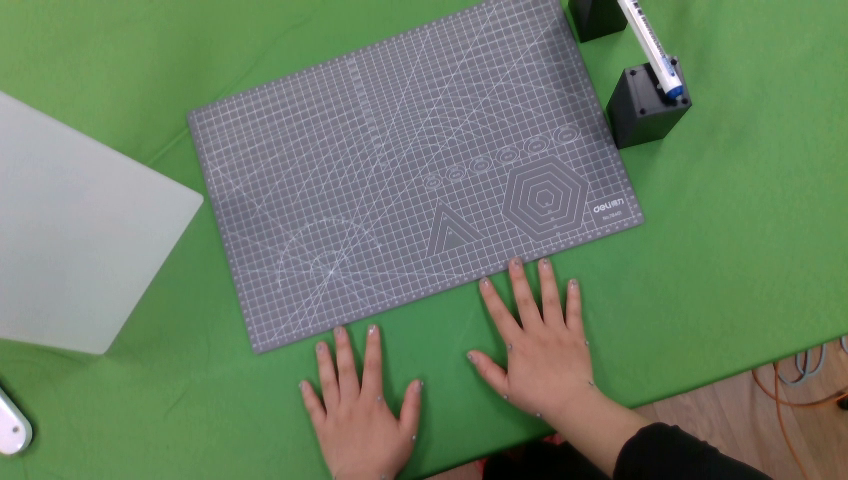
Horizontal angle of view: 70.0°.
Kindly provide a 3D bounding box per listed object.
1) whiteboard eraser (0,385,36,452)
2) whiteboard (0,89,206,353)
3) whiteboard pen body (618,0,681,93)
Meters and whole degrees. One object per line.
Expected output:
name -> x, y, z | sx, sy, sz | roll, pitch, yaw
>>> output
whiteboard eraser -> -0.489, 0.198, 0.691 | 0.101, 0.019, 0.041 | 43, 88, 9
whiteboard -> -0.420, -0.036, 0.600 | 0.142, 0.308, 0.217 | 31, 88, 30
whiteboard pen body -> 0.200, -0.199, 0.559 | 0.017, 0.017, 0.140 | -24, 82, 4
